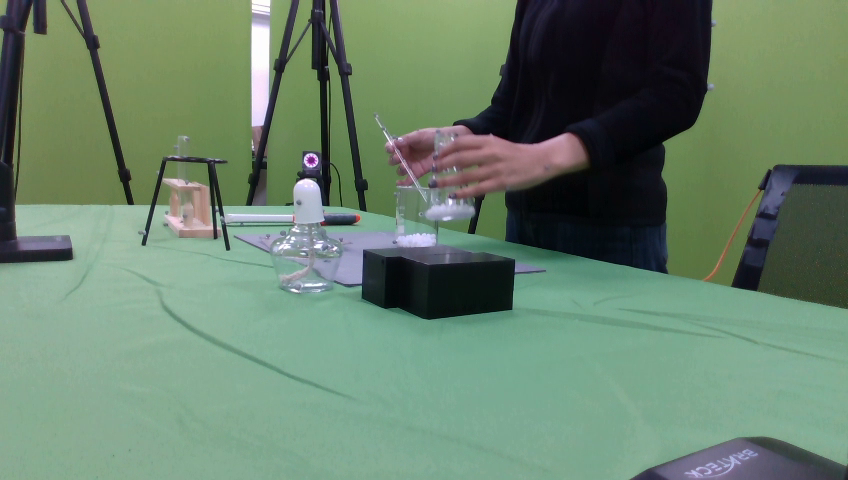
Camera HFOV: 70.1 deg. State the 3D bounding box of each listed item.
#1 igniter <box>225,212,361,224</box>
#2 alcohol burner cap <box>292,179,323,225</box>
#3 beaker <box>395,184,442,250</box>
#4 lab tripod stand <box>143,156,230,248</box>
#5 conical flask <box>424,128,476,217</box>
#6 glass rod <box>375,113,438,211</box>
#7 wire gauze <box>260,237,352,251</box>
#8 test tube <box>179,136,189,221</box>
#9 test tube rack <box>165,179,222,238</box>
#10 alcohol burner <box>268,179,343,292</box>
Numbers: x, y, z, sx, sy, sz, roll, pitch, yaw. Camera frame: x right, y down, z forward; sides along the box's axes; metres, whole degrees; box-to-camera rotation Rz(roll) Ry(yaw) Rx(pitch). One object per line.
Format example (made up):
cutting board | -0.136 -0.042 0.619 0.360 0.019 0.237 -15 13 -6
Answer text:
igniter | -0.262 -0.045 1.240 0.278 0.025 0.057 -2 -1 -30
alcohol burner cap | -0.124 -0.040 0.632 0.034 0.048 0.034 -3 10 1
beaker | -0.009 -0.038 0.968 0.074 0.100 0.084 6 8 21
lab tripod stand | -0.338 -0.058 0.908 0.148 0.131 0.148 4 7 0
conical flask | 0.034 -0.096 0.861 0.075 0.121 0.075 -3 -5 0
glass rod | -0.029 -0.128 0.974 0.008 0.199 0.008 -29 -16 -9
wire gauze | -0.184 0.004 0.938 0.122 0.011 0.124 -1 5 -24
test tube | -0.425 -0.108 1.070 0.017 0.150 0.017 4 9 0
test tube rack | -0.423 -0.062 1.098 0.067 0.085 0.241 -2 9 -28
alcohol burner | -0.124 -0.005 0.637 0.078 0.119 0.078 4 8 0
